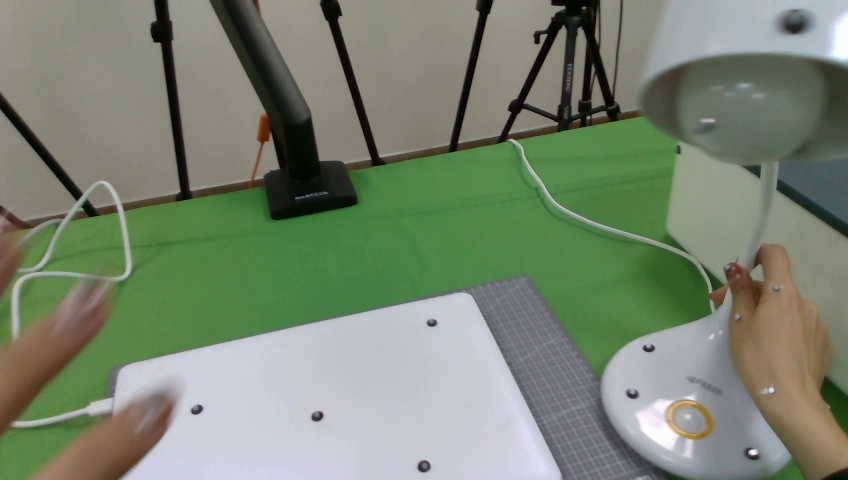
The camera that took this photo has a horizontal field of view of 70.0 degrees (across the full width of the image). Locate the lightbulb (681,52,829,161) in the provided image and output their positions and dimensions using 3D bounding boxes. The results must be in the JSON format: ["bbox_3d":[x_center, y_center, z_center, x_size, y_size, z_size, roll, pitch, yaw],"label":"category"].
[{"bbox_3d":[0.156,-0.089,0.277,0.059,0.107,0.059,15,-2,1],"label":"lightbulb"}]

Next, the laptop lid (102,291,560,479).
[{"bbox_3d":[-0.090,0.154,0.523,0.357,0.013,0.239,-10,39,-10],"label":"laptop lid"}]

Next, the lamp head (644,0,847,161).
[{"bbox_3d":[0.171,-0.108,0.281,0.112,0.113,0.122,12,76,21],"label":"lamp head"}]

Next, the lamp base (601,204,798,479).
[{"bbox_3d":[0.239,0.070,0.494,0.159,0.182,0.178,15,36,23],"label":"lamp base"}]

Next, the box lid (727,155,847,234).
[{"bbox_3d":[0.446,-0.068,0.558,0.264,0.015,0.367,-12,37,-13],"label":"box lid"}]

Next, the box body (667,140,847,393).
[{"bbox_3d":[0.450,-0.006,0.601,0.255,0.162,0.360,-12,37,-13],"label":"box body"}]

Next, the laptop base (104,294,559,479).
[{"bbox_3d":[-0.090,0.162,0.532,0.355,0.023,0.233,-11,40,-11],"label":"laptop base"}]
